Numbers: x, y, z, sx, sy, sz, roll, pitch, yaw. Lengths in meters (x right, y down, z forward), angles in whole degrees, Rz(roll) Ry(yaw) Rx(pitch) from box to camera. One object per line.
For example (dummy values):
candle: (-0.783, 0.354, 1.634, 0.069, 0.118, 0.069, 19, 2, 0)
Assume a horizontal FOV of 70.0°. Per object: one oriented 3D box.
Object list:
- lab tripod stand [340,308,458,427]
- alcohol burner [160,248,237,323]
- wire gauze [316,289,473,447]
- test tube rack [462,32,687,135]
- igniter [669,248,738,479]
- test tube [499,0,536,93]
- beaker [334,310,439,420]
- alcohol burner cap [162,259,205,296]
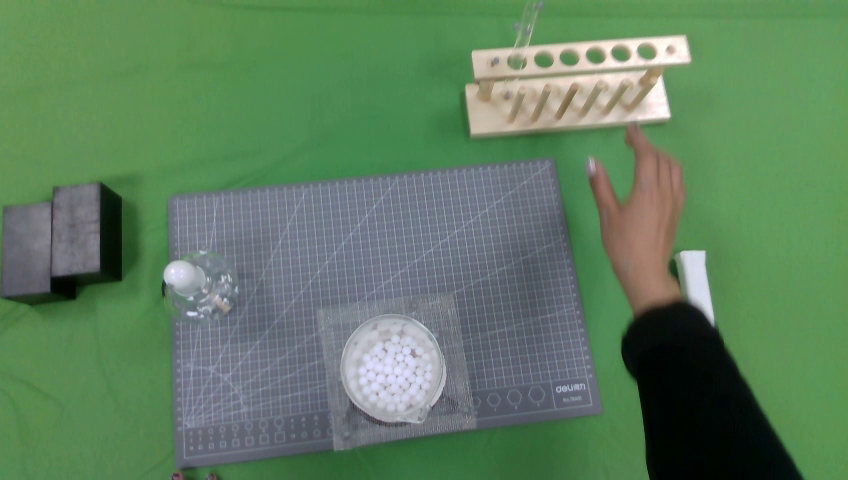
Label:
lab tripod stand: (-0.032, 0.129, 0.591, 0.148, 0.132, 0.147, 0, 75, 0)
alcohol burner: (-0.234, 0.042, 0.614, 0.078, 0.119, 0.077, 0, 74, -1)
wire gauze: (-0.028, 0.109, 0.528, 0.125, 0.011, 0.120, -9, 74, -2)
test tube rack: (0.171, -0.180, 0.704, 0.242, 0.085, 0.066, -5, 76, -3)
igniter: (0.303, 0.144, 0.659, 0.057, 0.025, 0.275, 0, 76, -12)
test tube: (0.099, -0.205, 0.656, 0.017, 0.151, 0.017, 1, 71, -2)
beaker: (-0.024, 0.103, 0.480, 0.074, 0.101, 0.083, -29, 77, -8)
alcohol burner cap: (-0.231, 0.034, 0.579, 0.034, 0.048, 0.033, 1, 77, -6)
